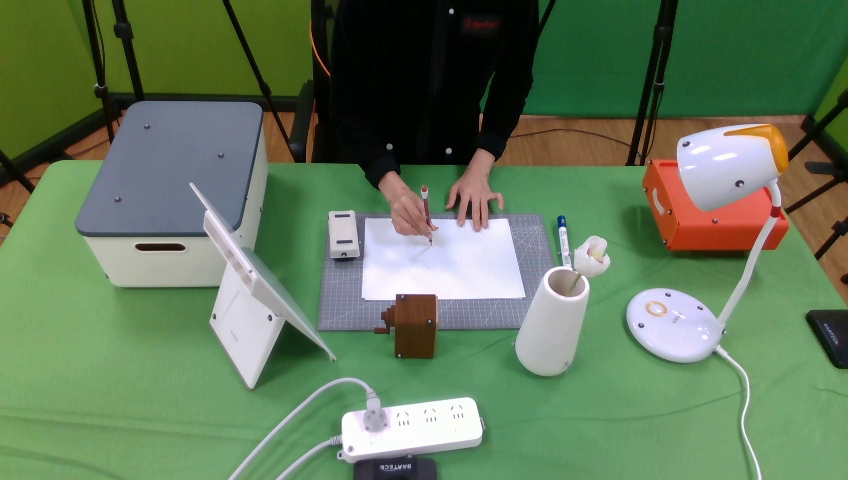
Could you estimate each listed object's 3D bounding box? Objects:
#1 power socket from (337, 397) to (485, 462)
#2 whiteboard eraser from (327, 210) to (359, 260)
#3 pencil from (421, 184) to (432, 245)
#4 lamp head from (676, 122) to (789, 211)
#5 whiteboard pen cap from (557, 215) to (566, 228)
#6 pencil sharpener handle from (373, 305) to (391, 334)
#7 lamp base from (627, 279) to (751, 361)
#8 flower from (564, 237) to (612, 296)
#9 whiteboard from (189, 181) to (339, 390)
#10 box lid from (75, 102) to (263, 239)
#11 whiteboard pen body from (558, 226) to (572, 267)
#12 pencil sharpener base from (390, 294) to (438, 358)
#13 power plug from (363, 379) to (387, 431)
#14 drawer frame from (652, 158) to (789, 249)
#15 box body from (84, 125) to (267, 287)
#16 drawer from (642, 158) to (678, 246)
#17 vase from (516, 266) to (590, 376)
[{"bbox_3d":[-0.018,0.285,0.915,0.227,0.033,0.071,-5,46,-8],"label":"power socket"},{"bbox_3d":[-0.158,-0.009,1.177,0.055,0.042,0.112,-6,47,-7],"label":"whiteboard eraser"},{"bbox_3d":[0.006,-0.042,1.115,0.012,0.195,0.012,-2,58,3],"label":"pencil"},{"bbox_3d":[0.423,-0.104,0.819,0.122,0.113,0.112,-13,33,40],"label":"lamp head"},{"bbox_3d":[0.284,-0.035,1.246,0.018,0.018,0.033,4,52,-1],"label":"whiteboard pen cap"},{"bbox_3d":[-0.069,0.133,0.989,0.030,0.068,0.036,1,47,-2],"label":"pencil sharpener handle"},{"bbox_3d":[0.459,0.100,1.027,0.178,0.181,0.160,27,51,17],"label":"lamp base"},{"bbox_3d":[0.206,0.088,0.893,0.038,0.363,0.044,-17,67,-9],"label":"flower"},{"bbox_3d":[-0.292,0.096,0.929,0.144,0.307,0.216,-37,57,-10],"label":"whiteboard"},{"bbox_3d":[-0.443,-0.138,1.094,0.263,0.015,0.369,-1,47,-5],"label":"box lid"},{"bbox_3d":[0.280,0.010,1.208,0.017,0.017,0.140,3,50,-1],"label":"whiteboard pen body"},{"bbox_3d":[-0.018,0.143,1.000,0.077,0.107,0.061,1,46,-2],"label":"pencil sharpener base"},{"bbox_3d":[-0.072,0.252,0.910,0.035,0.053,0.072,3,45,-1],"label":"power plug"},{"bbox_3d":[0.571,-0.075,1.214,0.214,0.083,0.200,0,45,-1],"label":"drawer frame"},{"bbox_3d":[-0.446,-0.088,1.150,0.254,0.161,0.361,-1,46,-5],"label":"box body"},{"bbox_3d":[0.566,-0.076,1.211,0.212,0.073,0.193,2,45,-2],"label":"drawer"},{"bbox_3d":[0.208,0.132,0.965,0.098,0.201,0.097,3,46,-3],"label":"vase"}]
